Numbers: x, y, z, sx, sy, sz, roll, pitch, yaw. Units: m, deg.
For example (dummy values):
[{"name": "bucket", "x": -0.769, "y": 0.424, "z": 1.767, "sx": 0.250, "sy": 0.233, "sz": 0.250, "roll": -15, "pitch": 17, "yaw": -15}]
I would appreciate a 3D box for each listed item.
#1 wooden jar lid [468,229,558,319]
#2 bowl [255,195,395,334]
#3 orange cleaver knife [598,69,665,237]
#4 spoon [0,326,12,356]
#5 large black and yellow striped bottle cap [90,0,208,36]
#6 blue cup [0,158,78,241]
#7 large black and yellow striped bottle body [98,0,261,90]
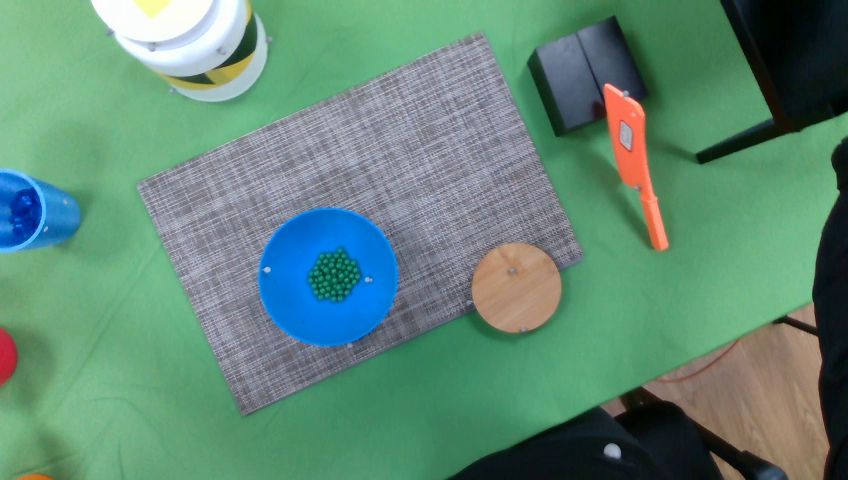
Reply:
[{"name": "wooden jar lid", "x": 0.106, "y": 0.040, "z": 0.724, "sx": 0.108, "sy": 0.020, "sz": 0.108, "roll": 0, "pitch": 96, "yaw": -4}, {"name": "bowl", "x": -0.107, "y": 0.026, "z": 0.687, "sx": 0.151, "sy": 0.077, "sz": 0.151, "roll": 0, "pitch": 90, "yaw": -2}, {"name": "orange cleaver knife", "x": 0.241, "y": -0.097, "z": 0.702, "sx": 0.012, "sy": 0.076, "sz": 0.213, "roll": -29, "pitch": 121, "yaw": -6}, {"name": "spoon", "x": -0.550, "y": 0.134, "z": 0.641, "sx": 0.194, "sy": 0.021, "sz": 0.041, "roll": -18, "pitch": 92, "yaw": -45}, {"name": "large black and yellow striped bottle cap", "x": -0.250, "y": -0.244, "z": 0.547, "sx": 0.115, "sy": 0.019, "sz": 0.115, "roll": 0, "pitch": 91, "yaw": -2}, {"name": "blue cup", "x": -0.435, "y": -0.041, "z": 0.664, "sx": 0.093, "sy": 0.100, "sz": 0.092, "roll": 0, "pitch": 90, "yaw": -4}, {"name": "large black and yellow striped bottle body", "x": -0.254, "y": -0.242, "z": 0.630, "sx": 0.131, "sy": 0.184, "sz": 0.130, "roll": 0, "pitch": 89, "yaw": -2}]
